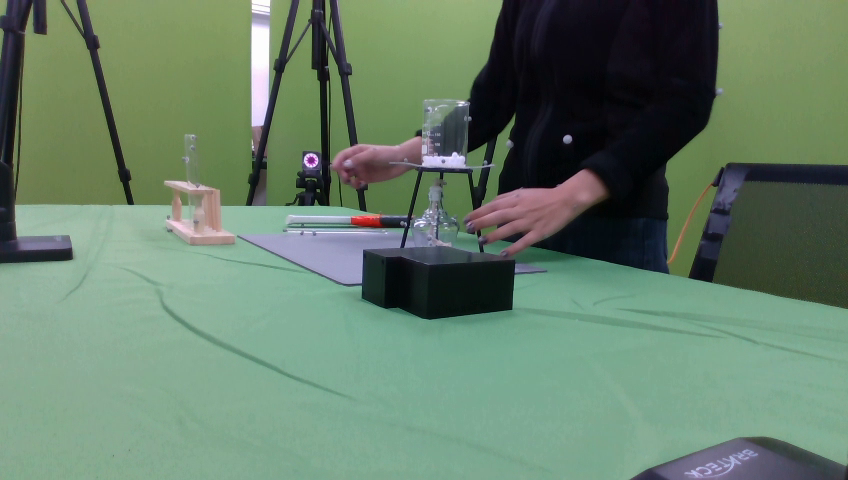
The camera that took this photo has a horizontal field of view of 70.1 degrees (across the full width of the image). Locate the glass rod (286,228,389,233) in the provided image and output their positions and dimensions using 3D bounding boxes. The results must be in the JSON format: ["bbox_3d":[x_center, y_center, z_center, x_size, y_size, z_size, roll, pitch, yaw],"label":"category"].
[{"bbox_3d":[-0.153,-0.017,1.101,0.201,0.008,0.008,1,7,-30],"label":"glass rod"}]

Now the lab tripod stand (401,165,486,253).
[{"bbox_3d":[0.028,-0.049,0.930,0.148,0.131,0.148,3,9,0],"label":"lab tripod stand"}]

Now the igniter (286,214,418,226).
[{"bbox_3d":[-0.145,-0.043,1.262,0.278,0.025,0.057,-1,-2,-25],"label":"igniter"}]

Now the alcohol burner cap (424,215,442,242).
[{"bbox_3d":[0.017,-0.022,1.099,0.034,0.048,0.034,2,8,0],"label":"alcohol burner cap"}]

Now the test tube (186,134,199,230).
[{"bbox_3d":[-0.360,-0.089,0.946,0.017,0.150,0.017,0,10,0],"label":"test tube"}]

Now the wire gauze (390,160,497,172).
[{"bbox_3d":[0.028,-0.114,0.920,0.122,0.011,0.124,-5,13,-34],"label":"wire gauze"}]

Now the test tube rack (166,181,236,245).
[{"bbox_3d":[-0.383,-0.051,1.024,0.067,0.085,0.241,-2,9,-31],"label":"test tube rack"}]

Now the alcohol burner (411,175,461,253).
[{"bbox_3d":[0.018,-0.040,0.931,0.078,0.119,0.078,0,7,0],"label":"alcohol burner"}]

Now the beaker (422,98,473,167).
[{"bbox_3d":[0.031,-0.162,0.919,0.074,0.100,0.083,-4,10,-36],"label":"beaker"}]
